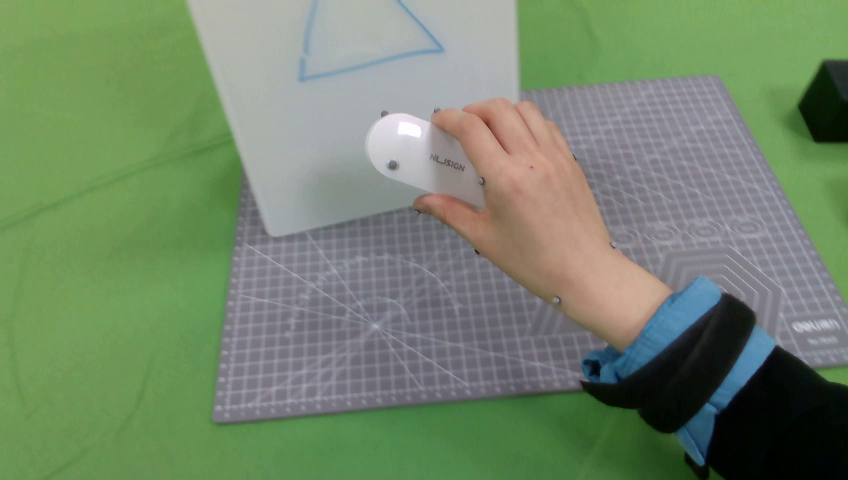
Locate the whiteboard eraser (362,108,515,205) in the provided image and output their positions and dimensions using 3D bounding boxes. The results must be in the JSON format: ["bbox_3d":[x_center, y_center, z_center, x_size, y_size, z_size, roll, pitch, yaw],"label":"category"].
[{"bbox_3d":[0.011,-0.052,0.385,0.102,0.018,0.041,17,97,-17],"label":"whiteboard eraser"}]

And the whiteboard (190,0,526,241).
[{"bbox_3d":[-0.052,-0.185,0.461,0.217,0.308,0.142,-13,36,-7],"label":"whiteboard"}]
